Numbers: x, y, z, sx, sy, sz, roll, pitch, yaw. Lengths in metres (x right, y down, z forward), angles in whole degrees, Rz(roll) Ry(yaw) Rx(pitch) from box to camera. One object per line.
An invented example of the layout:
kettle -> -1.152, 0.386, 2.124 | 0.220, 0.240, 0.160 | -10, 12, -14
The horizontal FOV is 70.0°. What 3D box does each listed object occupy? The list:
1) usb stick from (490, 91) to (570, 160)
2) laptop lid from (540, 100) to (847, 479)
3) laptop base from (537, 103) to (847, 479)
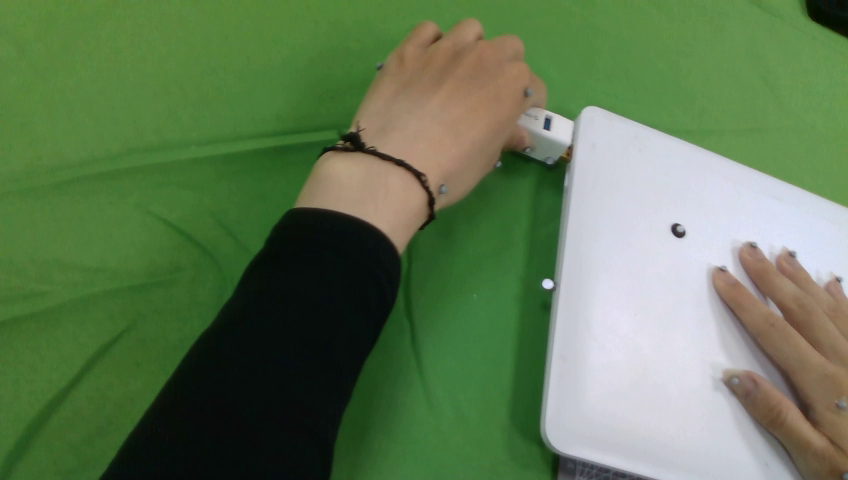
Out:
usb stick -> 0.074, -0.070, 0.389 | 0.059, 0.027, 0.021 | 23, 56, -18
laptop lid -> 0.245, 0.057, 0.389 | 0.358, 0.013, 0.240 | 20, 62, -10
laptop base -> 0.242, 0.060, 0.400 | 0.355, 0.023, 0.234 | 18, 63, -11
